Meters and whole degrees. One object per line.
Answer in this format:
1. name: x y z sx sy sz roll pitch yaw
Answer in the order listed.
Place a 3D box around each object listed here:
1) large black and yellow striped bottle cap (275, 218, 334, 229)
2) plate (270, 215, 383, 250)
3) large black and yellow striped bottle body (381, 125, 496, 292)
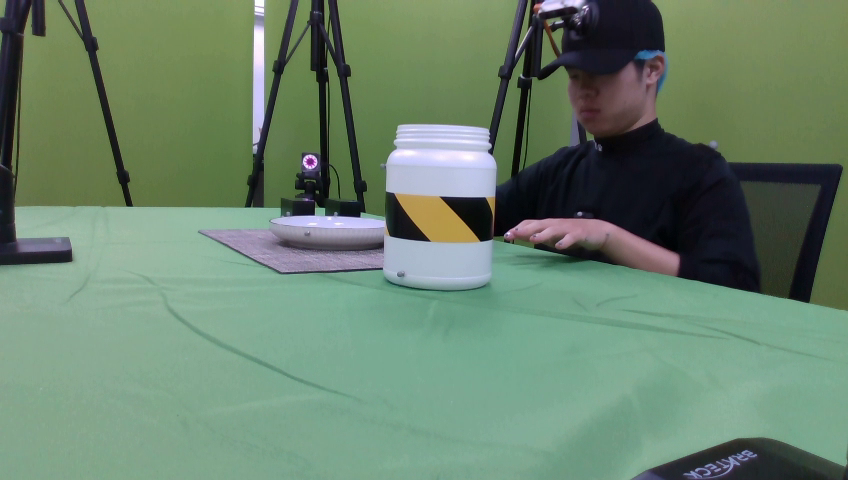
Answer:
1. large black and yellow striped bottle cap: -0.236 -0.033 1.197 0.115 0.019 0.115 2 3 0
2. plate: -0.145 -0.013 0.992 0.208 0.039 0.207 2 7 0
3. large black and yellow striped bottle body: 0.018 -0.040 0.715 0.131 0.184 0.130 3 7 0
